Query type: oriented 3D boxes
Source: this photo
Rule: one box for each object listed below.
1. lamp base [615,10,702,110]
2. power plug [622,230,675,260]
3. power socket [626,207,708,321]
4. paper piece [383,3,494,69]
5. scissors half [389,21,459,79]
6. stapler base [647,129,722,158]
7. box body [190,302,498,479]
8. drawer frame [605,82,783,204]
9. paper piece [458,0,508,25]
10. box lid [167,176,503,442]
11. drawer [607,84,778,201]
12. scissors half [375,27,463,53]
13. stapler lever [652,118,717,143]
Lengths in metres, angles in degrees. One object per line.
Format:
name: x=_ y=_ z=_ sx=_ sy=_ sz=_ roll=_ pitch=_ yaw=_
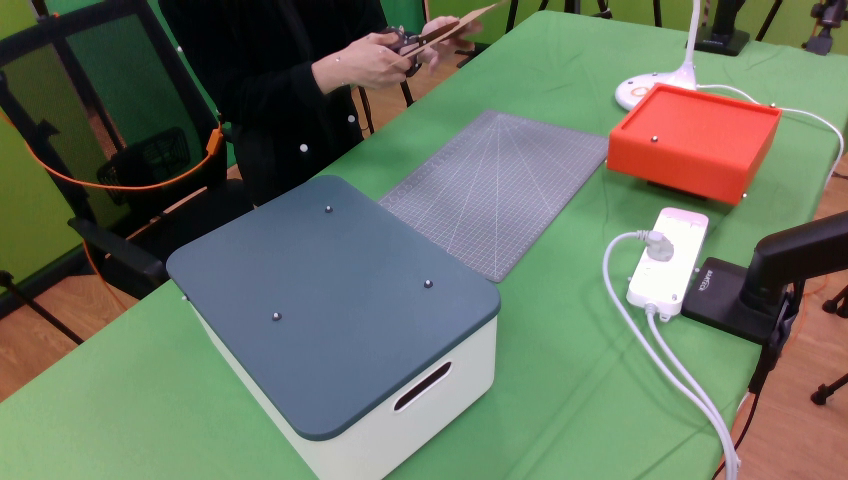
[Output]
lamp base: x=0.485 y=-0.364 z=1.211 sx=0.180 sy=0.181 sz=0.159 roll=-15 pitch=41 yaw=-14
power plug: x=0.327 y=0.007 z=0.878 sx=0.072 sy=0.053 sz=0.035 roll=25 pitch=50 yaw=32
power socket: x=0.360 y=0.026 z=0.886 sx=0.072 sy=0.033 sz=0.227 roll=16 pitch=46 yaw=26
paper piece: x=0.018 y=-0.290 z=0.866 sx=0.135 sy=0.004 sz=0.136 roll=-11 pitch=26 yaw=47
scissors half: x=0.000 y=-0.305 z=0.973 sx=0.174 sy=0.040 sz=0.013 roll=-25 pitch=18 yaw=50
stapler base: x=0.439 y=-0.167 z=1.023 sx=0.131 sy=0.024 sz=0.041 roll=-16 pitch=25 yaw=-15
box body: x=-0.110 y=0.103 z=0.761 sx=0.255 sy=0.161 sz=0.361 roll=-33 pitch=46 yaw=-27
drawer frame: x=0.441 y=-0.167 z=0.995 sx=0.212 sy=0.083 sz=0.202 roll=23 pitch=48 yaw=30
paper piece: x=0.093 y=-0.359 z=0.952 sx=0.137 sy=0.009 sz=0.136 roll=-9 pitch=21 yaw=45
box lid: x=-0.119 y=0.047 z=0.714 sx=0.264 sy=0.015 sz=0.368 roll=-32 pitch=47 yaw=-27
drawer: x=0.439 y=-0.167 z=0.995 sx=0.210 sy=0.073 sz=0.195 roll=23 pitch=48 yaw=30
scissors half: x=-0.011 y=-0.323 z=0.964 sx=0.174 sy=0.040 sz=0.013 roll=8 pitch=46 yaw=35
stapler lever: x=0.436 y=-0.192 z=1.014 sx=0.118 sy=0.040 sz=0.026 roll=-15 pitch=25 yaw=-16
